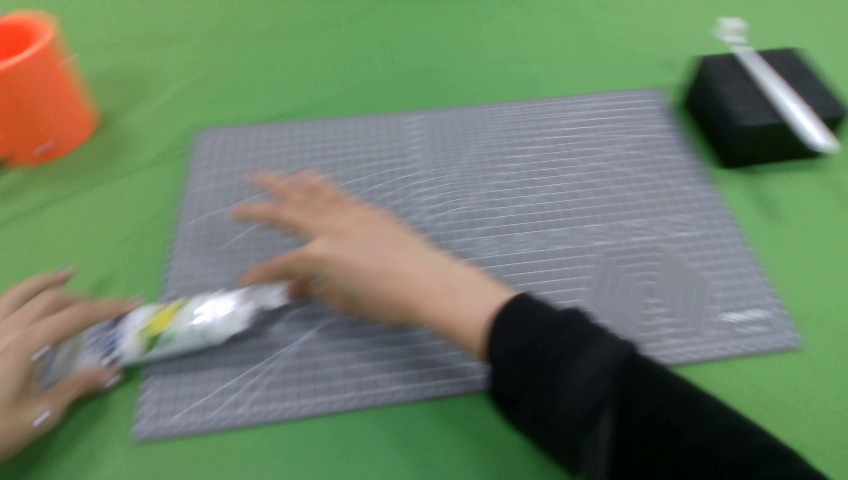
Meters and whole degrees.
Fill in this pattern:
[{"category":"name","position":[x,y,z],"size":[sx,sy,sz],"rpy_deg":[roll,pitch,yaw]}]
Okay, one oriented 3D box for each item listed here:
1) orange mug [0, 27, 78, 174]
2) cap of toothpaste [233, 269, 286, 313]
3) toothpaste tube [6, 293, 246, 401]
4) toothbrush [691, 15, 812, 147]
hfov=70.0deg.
[{"category":"orange mug","position":[-0.382,-0.111,0.524],"size":[0.083,0.102,0.126],"rpy_deg":[26,51,21]},{"category":"cap of toothpaste","position":[-0.117,0.038,0.431],"size":[0.037,0.037,0.011],"rpy_deg":[-14,24,-10]},{"category":"toothpaste tube","position":[-0.202,0.066,0.416],"size":[0.165,0.035,0.054],"rpy_deg":[-14,47,1]},{"category":"toothbrush","position":[0.281,-0.143,0.527],"size":[0.014,0.017,0.180],"rpy_deg":[-7,51,-10]}]
